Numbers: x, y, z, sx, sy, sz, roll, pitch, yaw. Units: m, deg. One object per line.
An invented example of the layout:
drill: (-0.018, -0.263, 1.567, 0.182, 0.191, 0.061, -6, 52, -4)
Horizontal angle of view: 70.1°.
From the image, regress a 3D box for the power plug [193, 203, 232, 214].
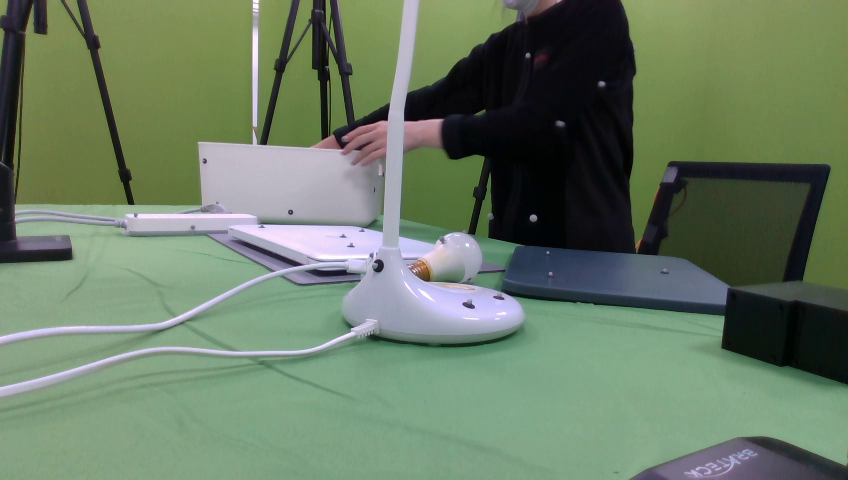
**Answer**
power plug: (-0.394, -0.042, 1.139, 0.072, 0.052, 0.035, -13, 2, 31)

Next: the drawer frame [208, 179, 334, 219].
drawer frame: (-0.327, -0.092, 1.327, 0.213, 0.082, 0.202, -1, 5, 6)

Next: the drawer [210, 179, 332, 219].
drawer: (-0.328, -0.096, 1.332, 0.212, 0.073, 0.194, 5, 8, 6)

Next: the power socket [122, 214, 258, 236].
power socket: (-0.398, -0.028, 1.049, 0.228, 0.032, 0.072, -3, 8, -34)

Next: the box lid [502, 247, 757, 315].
box lid: (0.244, 0.044, 0.793, 0.263, 0.015, 0.372, 4, 7, 10)

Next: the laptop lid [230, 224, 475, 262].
laptop lid: (-0.119, 0.000, 0.889, 0.243, 0.013, 0.355, 1, 7, -33)

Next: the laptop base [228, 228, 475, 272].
laptop base: (-0.122, 0.011, 0.889, 0.237, 0.023, 0.352, 2, 6, -35)

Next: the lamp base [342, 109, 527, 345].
lamp base: (0.006, -0.015, 0.505, 0.160, 0.180, 0.180, 6, 11, 29)

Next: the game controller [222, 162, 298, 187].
game controller: (-0.357, -0.143, 1.322, 0.156, 0.051, 0.097, 1, 3, -17)

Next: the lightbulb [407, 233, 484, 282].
lightbulb: (0.020, 0.028, 0.694, 0.108, 0.059, 0.059, -20, 18, -31)

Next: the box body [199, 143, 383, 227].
box body: (-0.276, -0.124, 1.334, 0.364, 0.160, 0.254, 3, 7, 1)

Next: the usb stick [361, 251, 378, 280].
usb stick: (-0.051, 0.033, 0.656, 0.027, 0.021, 0.059, 4, -27, -20)
